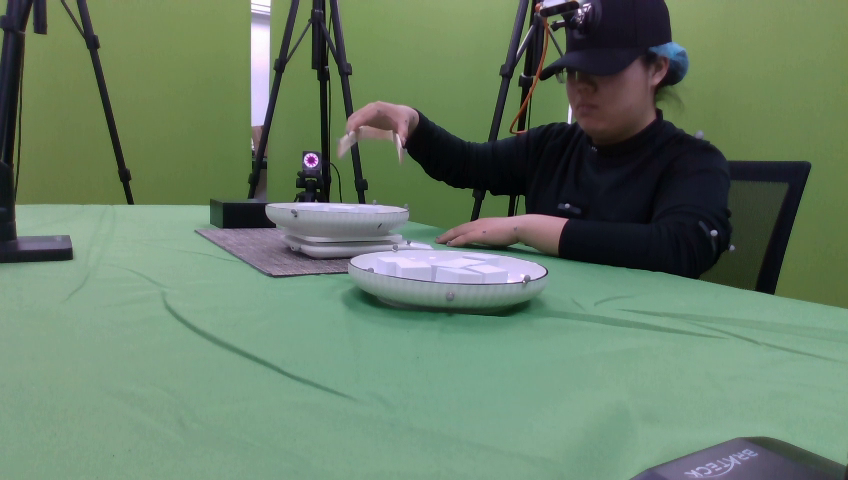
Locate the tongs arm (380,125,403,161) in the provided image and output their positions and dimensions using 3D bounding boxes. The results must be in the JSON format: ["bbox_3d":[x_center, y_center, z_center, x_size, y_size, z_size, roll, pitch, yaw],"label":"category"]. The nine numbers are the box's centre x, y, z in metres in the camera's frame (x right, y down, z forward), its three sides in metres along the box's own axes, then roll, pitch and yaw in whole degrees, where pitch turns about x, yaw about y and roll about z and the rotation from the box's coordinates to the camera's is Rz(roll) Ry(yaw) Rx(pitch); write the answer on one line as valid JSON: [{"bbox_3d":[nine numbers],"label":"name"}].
[{"bbox_3d":[-0.054,-0.170,1.032,0.028,0.028,0.386,-2,14,-6],"label":"tongs arm"}]

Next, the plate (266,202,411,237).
[{"bbox_3d":[-0.123,-0.030,0.879,0.208,0.039,0.207,2,6,0],"label":"plate"}]

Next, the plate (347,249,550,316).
[{"bbox_3d":[0.025,0.042,0.627,0.209,0.038,0.209,2,7,0],"label":"plate"}]

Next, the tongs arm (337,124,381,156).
[{"bbox_3d":[-0.104,-0.174,1.028,0.051,0.026,0.384,2,14,-3],"label":"tongs arm"}]

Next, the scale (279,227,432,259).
[{"bbox_3d":[-0.100,0.001,0.899,0.202,0.031,0.148,-1,9,-31],"label":"scale"}]
